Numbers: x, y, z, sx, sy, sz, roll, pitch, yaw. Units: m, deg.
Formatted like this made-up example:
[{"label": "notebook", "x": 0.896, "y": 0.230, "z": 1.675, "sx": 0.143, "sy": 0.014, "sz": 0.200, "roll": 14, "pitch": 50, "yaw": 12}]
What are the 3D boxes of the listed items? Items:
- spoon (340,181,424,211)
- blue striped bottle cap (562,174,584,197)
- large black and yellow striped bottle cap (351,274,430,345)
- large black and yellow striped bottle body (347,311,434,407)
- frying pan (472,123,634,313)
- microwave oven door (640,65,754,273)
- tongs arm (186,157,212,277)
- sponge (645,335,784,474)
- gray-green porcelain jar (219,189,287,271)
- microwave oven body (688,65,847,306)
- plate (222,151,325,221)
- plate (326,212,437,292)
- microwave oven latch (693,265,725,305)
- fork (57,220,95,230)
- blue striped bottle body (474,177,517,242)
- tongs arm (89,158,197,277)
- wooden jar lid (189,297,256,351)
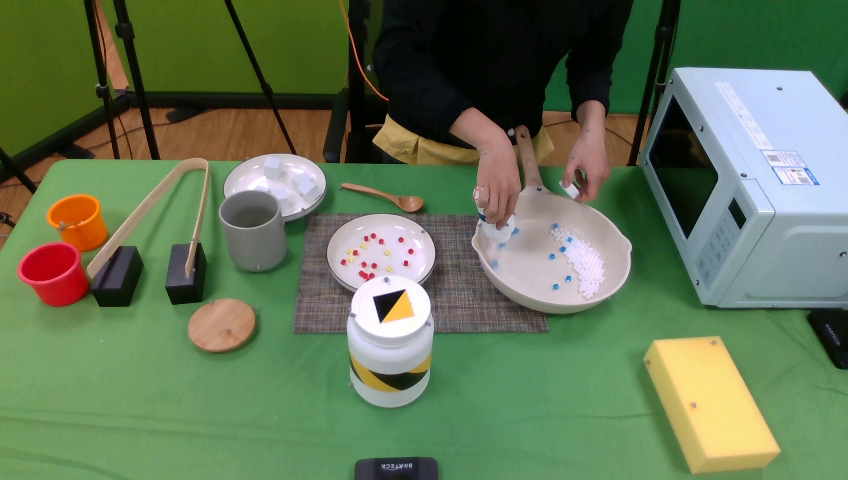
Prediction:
[{"label": "spoon", "x": -0.090, "y": -0.100, "z": 1.282, "sx": 0.193, "sy": 0.022, "sz": 0.041, "roll": 18, "pitch": 66, "yaw": 12}, {"label": "blue striped bottle cap", "x": 0.288, "y": -0.105, "z": 1.170, "sx": 0.045, "sy": 0.020, "sz": 0.044, "roll": 29, "pitch": 36, "yaw": -23}, {"label": "large black and yellow striped bottle cap", "x": -0.048, "y": 0.097, "z": 0.867, "sx": 0.115, "sy": 0.019, "sz": 0.114, "roll": 3, "pitch": 48, "yaw": -3}, {"label": "large black and yellow striped bottle body", "x": -0.052, "y": 0.157, "z": 0.929, "sx": 0.131, "sy": 0.185, "sz": 0.130, "roll": 2, "pitch": 47, "yaw": -2}, {"label": "frying pan", "x": 0.235, "y": -0.060, "z": 1.207, "sx": 0.307, "sy": 0.103, "sz": 0.484, "roll": 2, "pitch": 55, "yaw": -6}, {"label": "microwave oven door", "x": 0.524, "y": -0.148, "z": 1.193, "sx": 0.039, "sy": 0.245, "sz": 0.353, "roll": 0, "pitch": 47, "yaw": -3}, {"label": "tongs arm", "x": -0.445, "y": -0.058, "z": 1.168, "sx": 0.051, "sy": 0.026, "sz": 0.382, "roll": -4, "pitch": 37, "yaw": -6}, {"label": "sponge", "x": 0.449, "y": 0.253, "z": 0.956, "sx": 0.118, "sy": 0.061, "sz": 0.205, "roll": -4, "pitch": 46, "yaw": -7}, {"label": "gray-green porcelain jar", "x": -0.310, "y": -0.014, "z": 1.113, "sx": 0.106, "sy": 0.127, "sz": 0.105, "roll": 2, "pitch": 46, "yaw": -2}, {"label": "microwave oven body", "x": 0.669, "y": -0.111, "z": 1.176, "sx": 0.326, "sy": 0.261, "sz": 0.439, "roll": 0, "pitch": 46, "yaw": -3}, {"label": "plate", "x": -0.310, "y": -0.106, "z": 1.263, "sx": 0.208, "sy": 0.039, "sz": 0.206, "roll": 2, "pitch": 47, "yaw": -2}, {"label": "plate", "x": -0.080, "y": 0.030, "z": 1.143, "sx": 0.209, "sy": 0.038, "sz": 0.208, "roll": 2, "pitch": 46, "yaw": -2}, {"label": "microwave oven latch", "x": 0.523, "y": 0.082, "z": 1.116, "sx": 0.030, "sy": 0.029, "sz": 0.078, "roll": 2, "pitch": 46, "yaw": -1}, {"label": "fork", "x": -0.624, "y": -0.027, "z": 1.087, "sx": 0.028, "sy": 0.207, "sz": 0.018, "roll": -4, "pitch": 92, "yaw": -17}, {"label": "blue striped bottle body", "x": 0.133, "y": -0.051, "z": 1.110, "sx": 0.063, "sy": 0.121, "sz": 0.062, "roll": -11, "pitch": 44, "yaw": 11}, {"label": "tongs arm", "x": -0.530, "y": -0.058, "z": 1.163, "sx": 0.028, "sy": 0.028, "sz": 0.385, "roll": 2, "pitch": 36, "yaw": 7}, {"label": "wooden jar lid", "x": -0.342, "y": 0.145, "z": 1.033, "sx": 0.108, "sy": 0.021, "sz": 0.107, "roll": 2, "pitch": 45, "yaw": -2}]
